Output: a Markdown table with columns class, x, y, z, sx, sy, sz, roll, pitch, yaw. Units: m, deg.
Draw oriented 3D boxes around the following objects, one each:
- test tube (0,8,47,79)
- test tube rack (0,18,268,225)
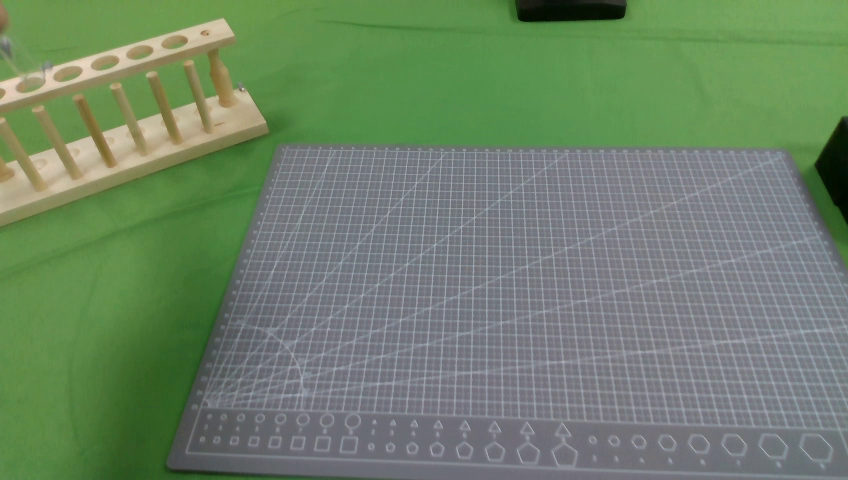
| class | x | y | z | sx | sy | sz | roll | pitch | yaw |
| --- | --- | --- | --- | --- | --- | --- | --- | --- | --- |
| test tube | -0.282 | -0.158 | 0.370 | 0.017 | 0.151 | 0.017 | -2 | 59 | 3 |
| test tube rack | -0.269 | -0.104 | 0.519 | 0.242 | 0.086 | 0.066 | -24 | 52 | -17 |
